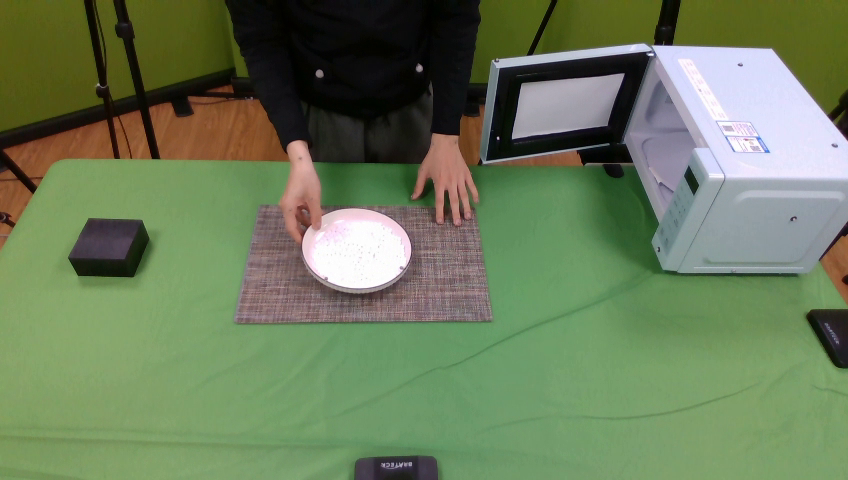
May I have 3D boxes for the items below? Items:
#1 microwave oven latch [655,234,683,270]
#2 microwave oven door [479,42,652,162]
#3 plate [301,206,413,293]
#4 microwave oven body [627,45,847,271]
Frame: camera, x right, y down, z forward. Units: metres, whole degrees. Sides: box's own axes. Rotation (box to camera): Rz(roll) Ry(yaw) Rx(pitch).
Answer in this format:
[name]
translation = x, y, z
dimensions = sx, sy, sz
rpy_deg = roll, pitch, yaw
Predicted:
[microwave oven latch]
translation = 0.473, 0.021, 1.175
dimensions = 0.030, 0.029, 0.078
rpy_deg = 2, 46, -1
[microwave oven door]
translation = 0.305, -0.301, 1.329
dimensions = 0.356, 0.245, 0.039
rpy_deg = -10, 48, -13
[plate]
translation = -0.127, 0.021, 1.142
dimensions = 0.209, 0.038, 0.208
rpy_deg = 6, 47, -6
[microwave oven body]
translation = 0.619, -0.172, 1.234
dimensions = 0.326, 0.261, 0.439
rpy_deg = 0, 46, -3
